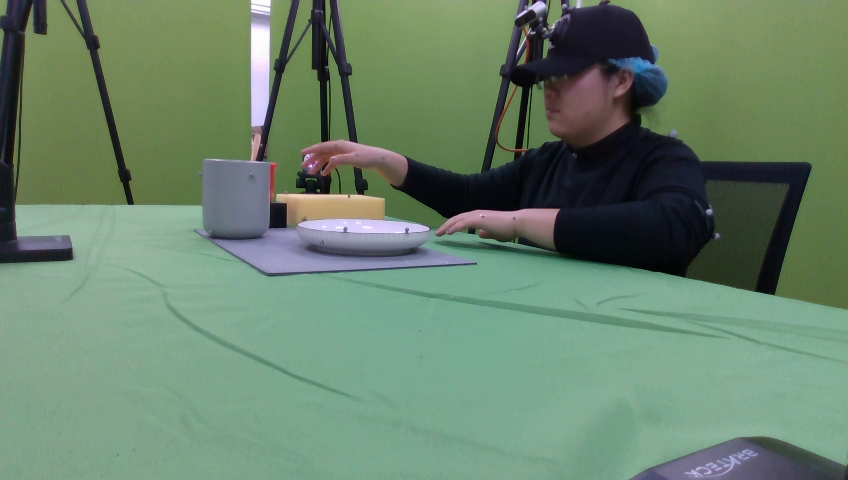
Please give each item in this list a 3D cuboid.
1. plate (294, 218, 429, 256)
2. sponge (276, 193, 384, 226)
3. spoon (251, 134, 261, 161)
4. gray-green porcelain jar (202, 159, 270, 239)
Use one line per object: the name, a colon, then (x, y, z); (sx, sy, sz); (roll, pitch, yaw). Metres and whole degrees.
plate: (-0.096, -0.005, 0.936); (0.208, 0.039, 0.207); (3, 7, 0)
sponge: (-0.203, -0.067, 1.312); (0.208, 0.061, 0.117); (-3, 9, -36)
spoon: (-0.341, -0.152, 1.206); (0.042, 0.021, 0.193); (3, 51, -8)
gray-green porcelain jar: (-0.310, -0.068, 0.999); (0.106, 0.126, 0.106); (3, 8, 0)
